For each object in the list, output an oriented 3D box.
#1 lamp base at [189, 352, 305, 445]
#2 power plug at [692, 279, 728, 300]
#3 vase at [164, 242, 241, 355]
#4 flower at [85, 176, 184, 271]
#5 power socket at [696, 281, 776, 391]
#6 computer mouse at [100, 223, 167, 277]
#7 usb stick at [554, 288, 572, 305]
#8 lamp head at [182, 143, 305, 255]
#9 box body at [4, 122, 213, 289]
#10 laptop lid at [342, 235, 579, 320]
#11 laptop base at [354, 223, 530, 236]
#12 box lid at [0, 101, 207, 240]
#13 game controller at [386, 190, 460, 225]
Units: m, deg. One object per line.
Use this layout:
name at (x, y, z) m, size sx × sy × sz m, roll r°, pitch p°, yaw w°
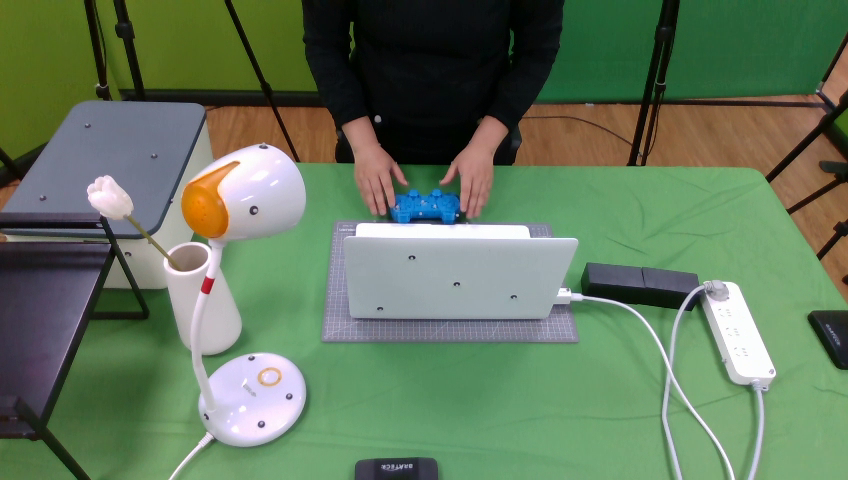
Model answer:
lamp base at (-0.268, 0.196, 0.876) m, size 0.160 × 0.181 × 0.179 m, roll 26°, pitch 52°, yaw 20°
power plug at (0.522, 0.091, 1.116) m, size 0.072 × 0.053 × 0.035 m, roll 10°, pitch 47°, yaw 8°
vase at (-0.349, 0.096, 0.954) m, size 0.098 × 0.201 × 0.097 m, roll 3°, pitch 47°, yaw -3°
flower at (-0.365, 0.038, 0.894) m, size 0.038 × 0.364 × 0.044 m, roll -6°, pitch 53°, yaw 14°
power socket at (0.550, 0.160, 1.078) m, size 0.072 × 0.033 × 0.225 m, roll 2°, pitch 46°, yaw -2°
computer mouse at (-0.539, 0.014, 1.122) m, size 0.062 × 0.041 × 0.117 m, roll 30°, pitch 57°, yaw 18°
usb stick at (0.236, 0.103, 1.101) m, size 0.059 × 0.027 × 0.021 m, roll -2°, pitch 47°, yaw 1°
lamp head at (-0.216, -0.044, 0.697) m, size 0.112 × 0.113 × 0.123 m, roll 23°, pitch 31°, yaw 17°
box body at (-0.563, -0.086, 1.138) m, size 0.254 × 0.161 × 0.361 m, roll 2°, pitch 46°, yaw -3°
laptop lid at (0.051, 0.067, 0.973) m, size 0.357 × 0.243 × 0.013 m, roll 1°, pitch 52°, yaw -5°
laptop base at (0.040, 0.055, 1.149) m, size 0.355 × 0.023 × 0.234 m, roll 1°, pitch 43°, yaw -4°
box lid at (-0.559, -0.137, 1.084) m, size 0.263 × 0.015 × 0.369 m, roll 2°, pitch 46°, yaw -2°
game controller at (-0.001, -0.073, 1.251) m, size 0.155 × 0.052 × 0.096 m, roll -2°, pitch 47°, yaw -5°
